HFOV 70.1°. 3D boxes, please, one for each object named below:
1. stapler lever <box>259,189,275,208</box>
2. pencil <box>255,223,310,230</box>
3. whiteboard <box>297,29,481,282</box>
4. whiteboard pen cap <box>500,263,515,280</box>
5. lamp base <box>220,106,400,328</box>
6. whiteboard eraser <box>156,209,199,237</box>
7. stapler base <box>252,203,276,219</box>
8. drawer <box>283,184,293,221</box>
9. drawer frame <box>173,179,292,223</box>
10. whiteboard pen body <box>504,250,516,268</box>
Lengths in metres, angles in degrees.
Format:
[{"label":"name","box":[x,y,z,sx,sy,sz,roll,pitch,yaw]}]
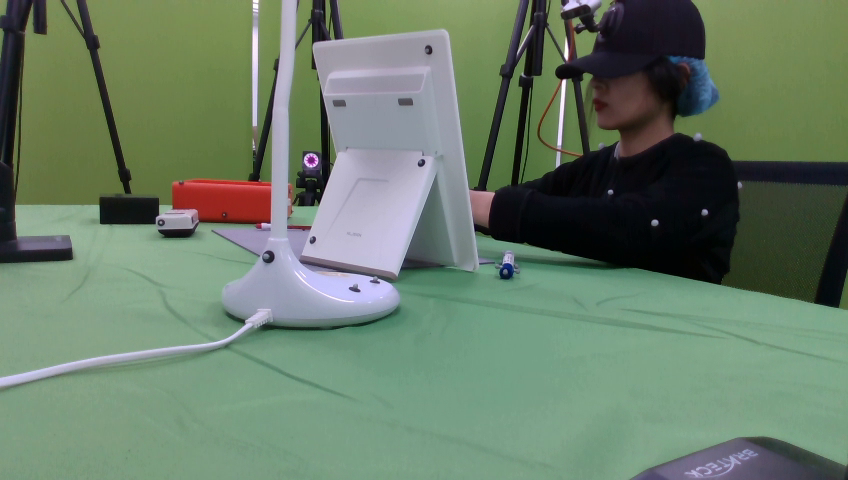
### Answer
[{"label":"stapler lever","box":[-0.335,-0.090,1.300,0.027,0.040,0.118,16,4,-11]},{"label":"pencil","box":[-0.216,-0.023,1.134,0.195,0.012,0.012,1,7,-21]},{"label":"whiteboard","box":[-0.076,-0.082,0.741,0.216,0.305,0.144,9,29,37]},{"label":"whiteboard pen cap","box":[0.105,0.038,0.758,0.018,0.018,0.033,4,10,9]},{"label":"lamp base","box":[-0.101,-0.023,0.531,0.160,0.180,0.179,4,10,10]},{"label":"whiteboard eraser","box":[-0.411,-0.029,1.016,0.056,0.042,0.112,2,7,-16]},{"label":"stapler base","box":[-0.341,-0.065,1.301,0.041,0.024,0.130,16,4,-11]},{"label":"drawer","box":[-0.396,-0.085,1.301,0.212,0.073,0.194,1,8,-7]},{"label":"drawer frame","box":[-0.400,-0.086,1.300,0.214,0.082,0.201,1,8,-8]},{"label":"whiteboard pen body","box":[0.115,0.031,0.815,0.017,0.017,0.141,4,8,9]}]
